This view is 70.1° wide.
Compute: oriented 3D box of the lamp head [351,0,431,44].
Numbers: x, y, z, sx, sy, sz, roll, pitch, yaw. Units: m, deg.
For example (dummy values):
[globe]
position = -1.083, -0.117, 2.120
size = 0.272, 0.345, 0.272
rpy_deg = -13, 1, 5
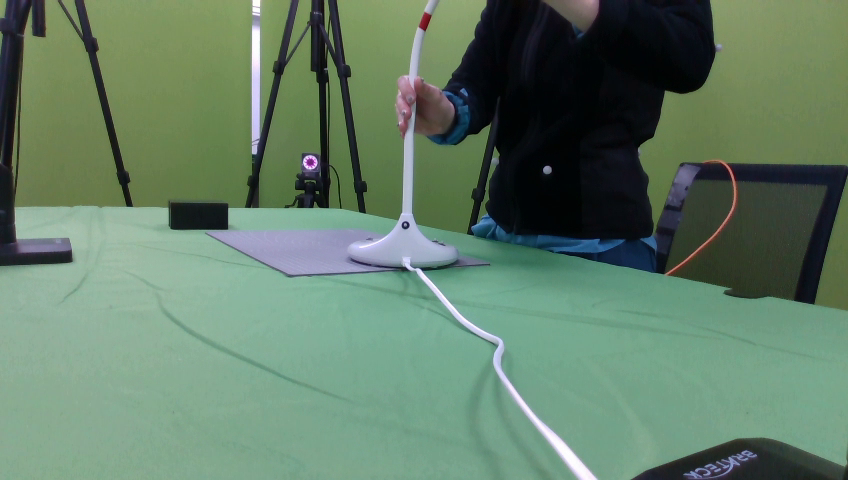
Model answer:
[lamp head]
position = -0.035, -0.354, 0.850
size = 0.113, 0.112, 0.122
rpy_deg = -1, -28, -23

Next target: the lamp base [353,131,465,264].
[lamp base]
position = -0.015, -0.062, 0.850
size = 0.161, 0.180, 0.178
rpy_deg = -1, 11, -20

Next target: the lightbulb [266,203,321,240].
[lightbulb]
position = -0.224, -0.026, 1.031
size = 0.059, 0.059, 0.108
rpy_deg = 8, 24, 37
